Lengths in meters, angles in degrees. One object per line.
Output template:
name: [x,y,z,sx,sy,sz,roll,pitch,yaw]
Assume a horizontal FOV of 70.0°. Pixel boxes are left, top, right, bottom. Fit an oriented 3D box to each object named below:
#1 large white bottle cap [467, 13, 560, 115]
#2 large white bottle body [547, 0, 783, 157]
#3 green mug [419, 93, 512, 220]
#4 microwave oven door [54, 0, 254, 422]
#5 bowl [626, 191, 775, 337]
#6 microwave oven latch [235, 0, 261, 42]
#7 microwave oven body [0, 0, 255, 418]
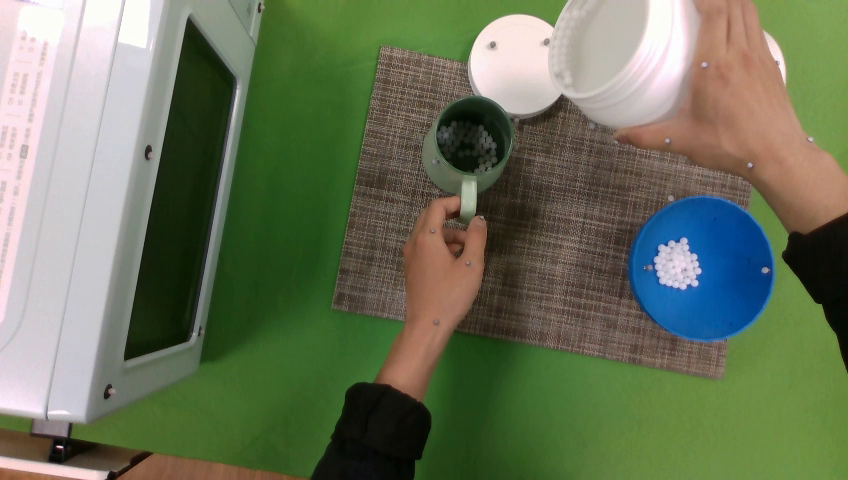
large white bottle cap: [0.105,-0.198,0.682,0.115,0.018,0.114,0,84,-4]
large white bottle body: [0.212,-0.156,0.539,0.186,0.130,0.130,10,86,-33]
green mug: [0.043,-0.083,0.631,0.092,0.105,0.125,1,88,-4]
microwave oven door: [-0.220,-0.044,0.531,0.039,0.244,0.355,9,87,-2]
bowl: [0.283,0.027,0.654,0.151,0.077,0.151,0,87,-3]
microwave oven latch: [-0.189,-0.254,0.643,0.030,0.029,0.079,10,88,-3]
microwave oven body: [-0.358,-0.109,0.530,0.326,0.260,0.441,9,88,-4]
